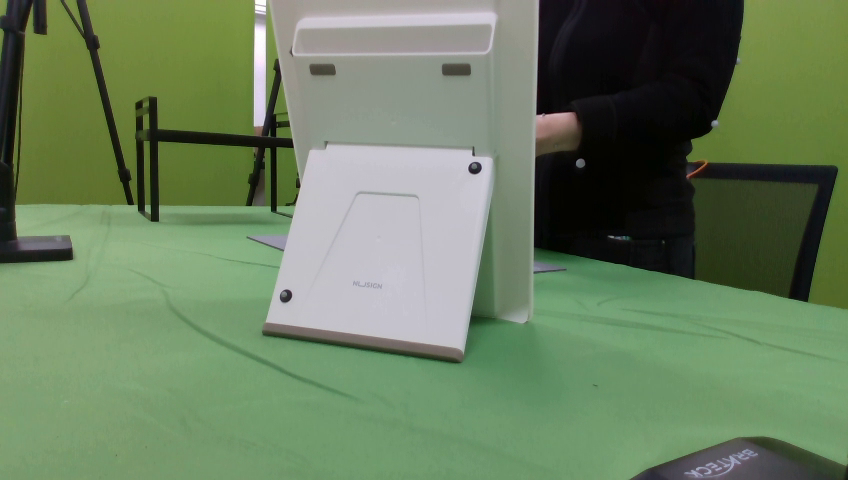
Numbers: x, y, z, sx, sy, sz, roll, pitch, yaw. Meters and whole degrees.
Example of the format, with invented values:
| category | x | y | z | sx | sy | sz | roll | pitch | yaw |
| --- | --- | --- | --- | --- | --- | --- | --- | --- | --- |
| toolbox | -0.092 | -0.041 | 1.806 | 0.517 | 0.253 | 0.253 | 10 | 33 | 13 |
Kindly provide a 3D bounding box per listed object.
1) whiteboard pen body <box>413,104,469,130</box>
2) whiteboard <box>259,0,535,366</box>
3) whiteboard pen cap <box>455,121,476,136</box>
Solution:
| category | x | y | z | sx | sy | sz | roll | pitch | yaw |
| --- | --- | --- | --- | --- | --- | --- | --- | --- | --- |
| whiteboard pen body | 0.025 | -0.184 | 0.912 | 0.017 | 0.017 | 0.140 | -3 | 24 | -35 |
| whiteboard | -0.037 | -0.040 | 0.457 | 0.216 | 0.305 | 0.144 | 5 | 28 | 19 |
| whiteboard pen cap | 0.058 | -0.160 | 0.868 | 0.018 | 0.018 | 0.033 | -3 | 21 | -35 |
